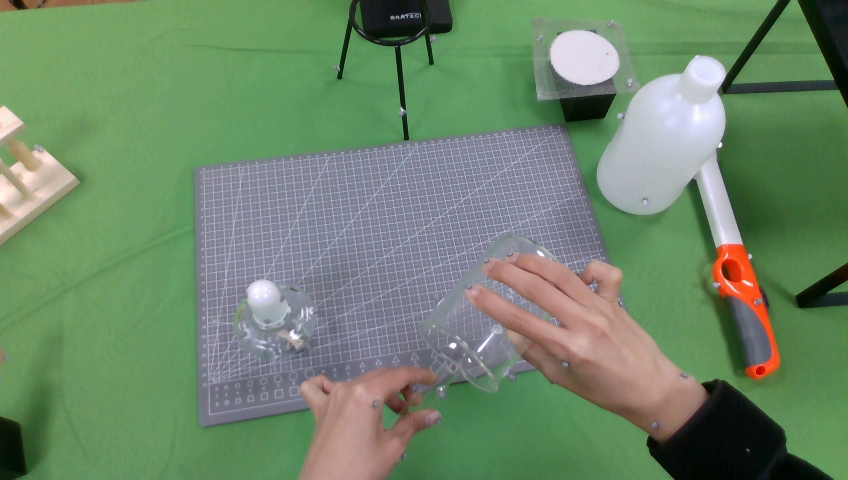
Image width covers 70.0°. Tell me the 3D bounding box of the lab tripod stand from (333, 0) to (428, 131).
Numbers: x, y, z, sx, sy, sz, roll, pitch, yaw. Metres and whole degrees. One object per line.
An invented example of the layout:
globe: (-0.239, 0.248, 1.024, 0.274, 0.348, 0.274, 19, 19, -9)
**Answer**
lab tripod stand: (-0.042, -0.224, 0.709, 0.148, 0.132, 0.147, 2, 66, -4)

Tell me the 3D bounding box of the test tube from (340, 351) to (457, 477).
test tube: (-0.024, 0.146, 0.498, 0.017, 0.017, 0.150, 46, 110, 17)

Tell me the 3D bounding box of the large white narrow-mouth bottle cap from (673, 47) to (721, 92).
large white narrow-mouth bottle cap: (0.254, -0.159, 0.565, 0.038, 0.024, 0.037, 1, 65, -2)

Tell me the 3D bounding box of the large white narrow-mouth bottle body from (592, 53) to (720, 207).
large white narrow-mouth bottle body: (0.251, -0.120, 0.642, 0.102, 0.196, 0.101, 1, 64, -2)

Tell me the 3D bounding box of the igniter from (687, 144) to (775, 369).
igniter: (0.338, 0.008, 0.680, 0.057, 0.025, 0.274, 2, 64, -14)

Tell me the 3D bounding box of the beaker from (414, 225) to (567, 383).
beaker: (0.053, 0.046, 0.453, 0.073, 0.084, 0.100, 38, 71, 14)

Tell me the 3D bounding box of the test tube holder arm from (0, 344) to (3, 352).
test tube holder arm: (-0.403, 0.173, 0.518, 0.013, 0.015, 0.177, 2, 65, 7)

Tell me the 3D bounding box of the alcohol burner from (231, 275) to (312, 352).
alcohol burner: (-0.147, 0.064, 0.578, 0.078, 0.120, 0.077, 2, 63, -4)

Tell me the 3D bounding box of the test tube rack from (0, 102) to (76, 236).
test tube rack: (-0.498, -0.026, 0.619, 0.066, 0.086, 0.242, 38, 69, 14)

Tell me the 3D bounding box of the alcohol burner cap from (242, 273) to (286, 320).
alcohol burner cap: (-0.146, 0.049, 0.545, 0.034, 0.048, 0.033, 0, 60, 0)

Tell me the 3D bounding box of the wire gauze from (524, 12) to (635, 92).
wire gauze: (0.187, -0.233, 0.739, 0.121, 0.011, 0.124, -1, 65, -3)
